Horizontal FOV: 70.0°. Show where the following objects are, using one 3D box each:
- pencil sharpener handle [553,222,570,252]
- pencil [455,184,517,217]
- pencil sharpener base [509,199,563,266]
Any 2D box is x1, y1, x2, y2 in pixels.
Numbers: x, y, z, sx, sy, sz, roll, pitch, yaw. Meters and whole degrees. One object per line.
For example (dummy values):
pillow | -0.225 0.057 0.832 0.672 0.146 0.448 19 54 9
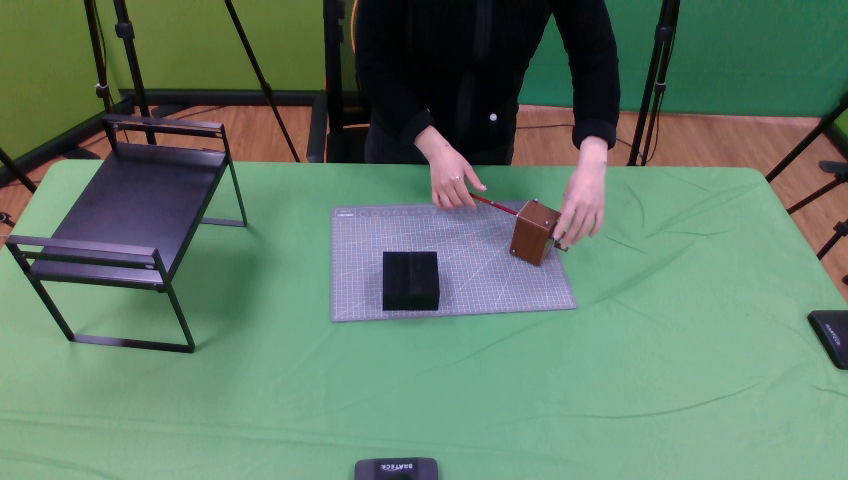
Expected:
pencil sharpener handle | 0.262 -0.002 1.136 0.030 0.068 0.036 27 66 20
pencil | 0.142 -0.065 1.173 0.193 0.012 0.012 29 51 23
pencil sharpener base | 0.216 -0.012 1.160 0.076 0.107 0.061 27 50 20
